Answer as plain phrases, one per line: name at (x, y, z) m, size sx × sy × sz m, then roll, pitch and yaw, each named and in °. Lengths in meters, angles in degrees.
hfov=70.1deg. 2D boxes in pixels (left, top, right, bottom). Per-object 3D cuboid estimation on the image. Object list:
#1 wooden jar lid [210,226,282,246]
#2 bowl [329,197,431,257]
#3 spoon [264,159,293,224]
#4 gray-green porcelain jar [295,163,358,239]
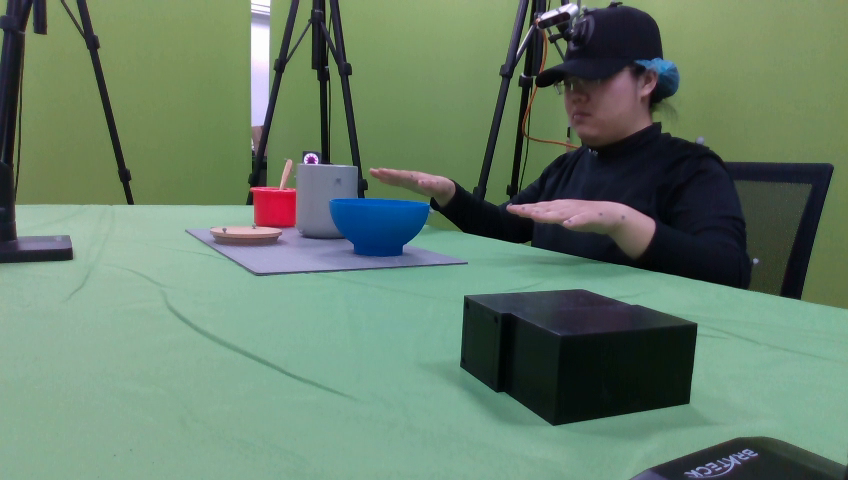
wooden jar lid at (-0.279, -0.007, 0.951) m, size 0.108 × 0.020 × 0.108 m, roll 2°, pitch 8°, yaw 0°
bowl at (-0.067, -0.019, 0.895) m, size 0.151 × 0.077 × 0.151 m, roll 3°, pitch 7°, yaw 0°
spoon at (-0.288, -0.102, 1.227) m, size 0.041 × 0.021 × 0.193 m, roll 1°, pitch 51°, yaw 3°
gray-green porcelain jar at (-0.170, -0.069, 1.054) m, size 0.106 × 0.126 × 0.106 m, roll 3°, pitch 7°, yaw 0°
